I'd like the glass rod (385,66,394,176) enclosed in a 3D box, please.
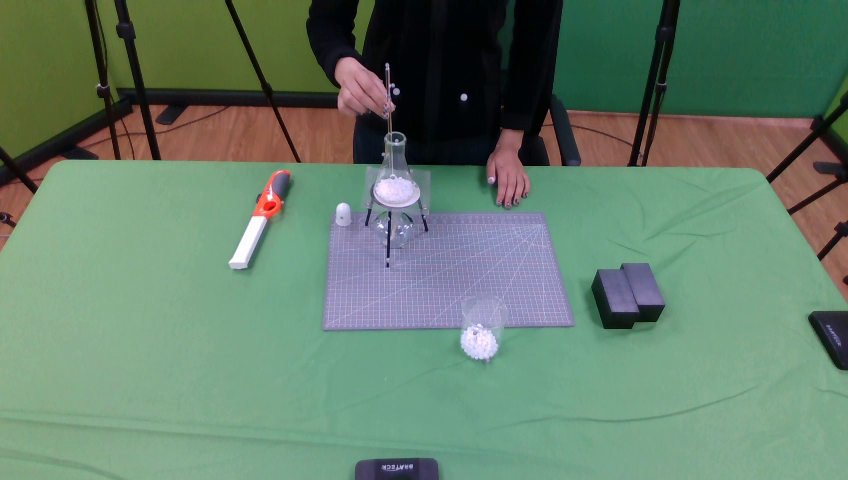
[{"bbox_3d":[-0.057,-0.194,1.016,0.008,0.200,0.008,0,37,1],"label":"glass rod"}]

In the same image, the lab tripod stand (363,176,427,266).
[{"bbox_3d":[-0.058,-0.047,1.159,0.148,0.132,0.147,3,44,-2],"label":"lab tripod stand"}]

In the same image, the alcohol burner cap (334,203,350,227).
[{"bbox_3d":[-0.166,-0.054,1.221,0.034,0.048,0.033,3,46,-2],"label":"alcohol burner cap"}]

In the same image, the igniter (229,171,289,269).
[{"bbox_3d":[-0.328,-0.049,1.218,0.057,0.025,0.275,0,45,11],"label":"igniter"}]

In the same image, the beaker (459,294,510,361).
[{"bbox_3d":[0.095,0.147,1.012,0.083,0.101,0.074,26,49,21],"label":"beaker"}]

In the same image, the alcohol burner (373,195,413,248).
[{"bbox_3d":[-0.059,-0.041,1.167,0.078,0.119,0.077,4,46,-4],"label":"alcohol burner"}]

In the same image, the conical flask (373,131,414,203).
[{"bbox_3d":[-0.053,-0.131,1.067,0.075,0.122,0.075,2,44,-2],"label":"conical flask"}]

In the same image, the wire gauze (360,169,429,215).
[{"bbox_3d":[-0.052,-0.092,1.111,0.125,0.011,0.120,3,43,1],"label":"wire gauze"}]
